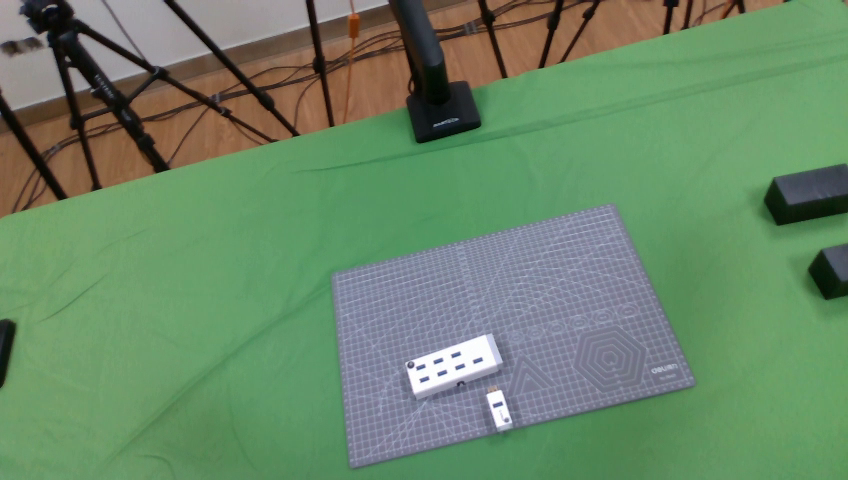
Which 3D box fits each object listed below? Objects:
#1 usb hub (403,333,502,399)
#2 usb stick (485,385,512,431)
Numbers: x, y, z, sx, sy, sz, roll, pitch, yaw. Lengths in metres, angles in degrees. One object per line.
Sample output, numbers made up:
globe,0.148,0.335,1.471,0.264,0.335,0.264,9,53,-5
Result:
usb hub,0.038,0.168,0.813,0.125,0.025,0.049,-19,55,-1
usb stick,0.093,0.211,0.773,0.021,0.027,0.058,-19,52,3
